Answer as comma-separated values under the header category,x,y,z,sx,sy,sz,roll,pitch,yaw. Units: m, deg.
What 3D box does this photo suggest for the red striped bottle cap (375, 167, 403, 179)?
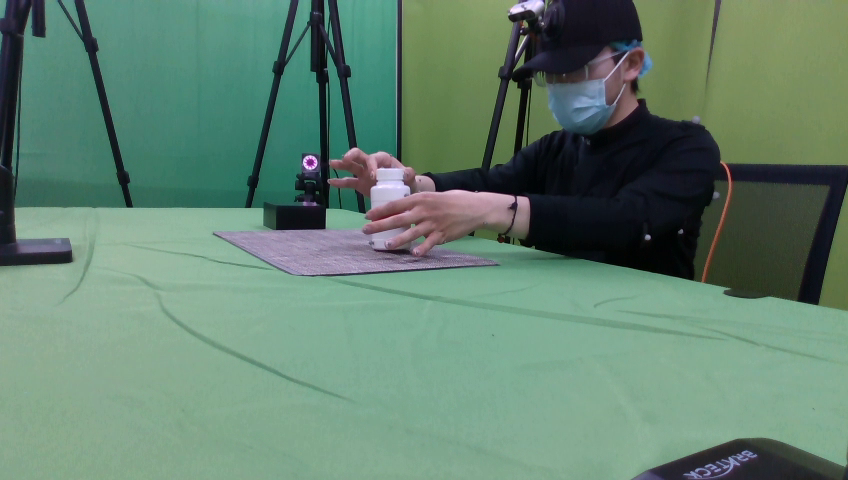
category,x,y,z,sx,sy,sz,roll,pitch,yaw
red striped bottle cap,-0.054,-0.104,0.939,0.044,0.017,0.044,-1,6,0

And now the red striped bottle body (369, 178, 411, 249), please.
category,x,y,z,sx,sy,sz,roll,pitch,yaw
red striped bottle body,-0.053,-0.048,0.940,0.063,0.119,0.063,-2,4,0
